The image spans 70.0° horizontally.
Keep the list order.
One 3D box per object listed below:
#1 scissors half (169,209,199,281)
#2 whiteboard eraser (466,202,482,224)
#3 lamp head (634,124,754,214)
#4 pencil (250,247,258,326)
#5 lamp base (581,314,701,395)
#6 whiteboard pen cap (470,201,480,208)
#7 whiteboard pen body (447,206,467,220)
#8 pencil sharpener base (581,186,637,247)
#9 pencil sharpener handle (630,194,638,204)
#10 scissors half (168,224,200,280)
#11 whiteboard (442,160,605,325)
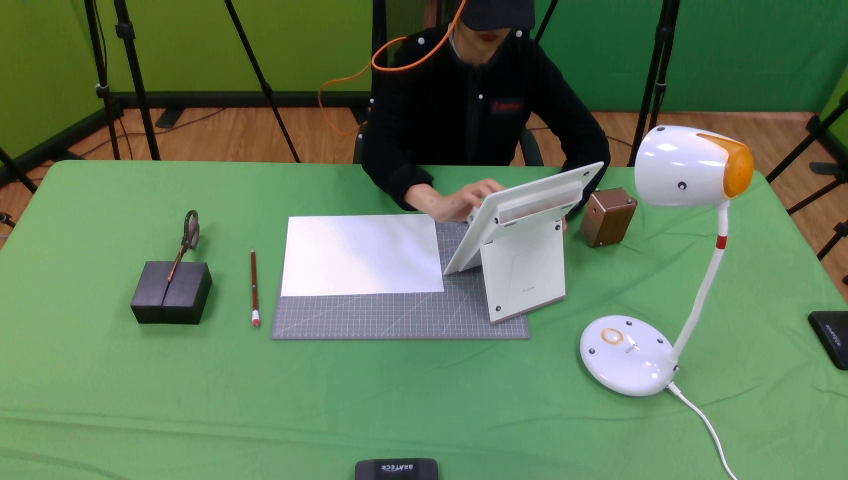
[{"bbox_3d":[-0.437,0.007,1.098,0.013,0.040,0.174,3,48,-3],"label":"scissors half"},{"bbox_3d":[0.131,-0.046,1.036,0.113,0.056,0.041,-13,68,-17],"label":"whiteboard eraser"},{"bbox_3d":[0.351,-0.089,0.775,0.112,0.113,0.122,-30,30,-28],"label":"lamp head"},{"bbox_3d":[-0.312,0.079,1.107,0.012,0.012,0.192,-7,46,-11],"label":"pencil"},{"bbox_3d":[0.361,0.145,0.973,0.178,0.181,0.160,34,53,23],"label":"lamp base"},{"bbox_3d":[0.113,-0.073,1.279,0.033,0.018,0.018,4,46,6],"label":"whiteboard pen cap"},{"bbox_3d":[0.111,-0.039,1.241,0.140,0.017,0.017,23,49,14],"label":"whiteboard pen body"},{"bbox_3d":[0.369,-0.047,1.209,0.077,0.107,0.061,-11,47,-14],"label":"pencil sharpener base"},{"bbox_3d":[0.417,-0.068,1.215,0.031,0.068,0.036,-11,60,-14],"label":"pencil sharpener handle"},{"bbox_3d":[-0.440,0.023,1.111,0.013,0.040,0.174,7,29,-6],"label":"scissors half"},{"bbox_3d":[0.185,0.025,1.028,0.217,0.306,0.143,-16,69,-19],"label":"whiteboard"}]
